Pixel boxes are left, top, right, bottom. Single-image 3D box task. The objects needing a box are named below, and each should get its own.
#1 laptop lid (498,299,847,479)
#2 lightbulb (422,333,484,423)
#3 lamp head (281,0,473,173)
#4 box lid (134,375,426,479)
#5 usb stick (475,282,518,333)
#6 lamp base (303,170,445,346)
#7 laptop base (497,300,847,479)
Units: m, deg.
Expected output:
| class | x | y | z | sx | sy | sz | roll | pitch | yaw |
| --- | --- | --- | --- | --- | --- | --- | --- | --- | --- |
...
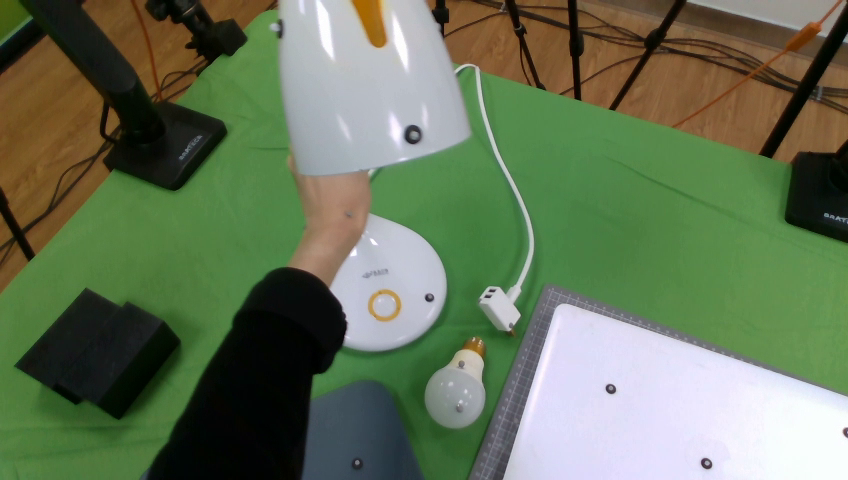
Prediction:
| class | x | y | z | sx | sy | sz | roll | pitch | yaw |
| --- | --- | --- | --- | --- | --- | --- | --- | --- | --- |
| laptop lid | 0.264 | 0.208 | 0.576 | 0.355 | 0.013 | 0.240 | 19 | 62 | 12 |
| lightbulb | 0.036 | 0.136 | 0.618 | 0.059 | 0.060 | 0.107 | 19 | 44 | 12 |
| lamp head | -0.036 | -0.111 | 0.363 | 0.112 | 0.112 | 0.123 | -13 | 103 | 3 |
| box lid | -0.096 | 0.318 | 0.527 | 0.263 | 0.015 | 0.367 | -20 | 61 | -12 |
| usb stick | 0.082 | 0.075 | 0.656 | 0.021 | 0.059 | 0.027 | -3 | 37 | 52 |
| lamp base | -0.063 | -0.004 | 0.627 | 0.161 | 0.182 | 0.177 | -22 | 58 | -13 |
| laptop base | 0.265 | 0.213 | 0.587 | 0.353 | 0.023 | 0.234 | 18 | 63 | 11 |
